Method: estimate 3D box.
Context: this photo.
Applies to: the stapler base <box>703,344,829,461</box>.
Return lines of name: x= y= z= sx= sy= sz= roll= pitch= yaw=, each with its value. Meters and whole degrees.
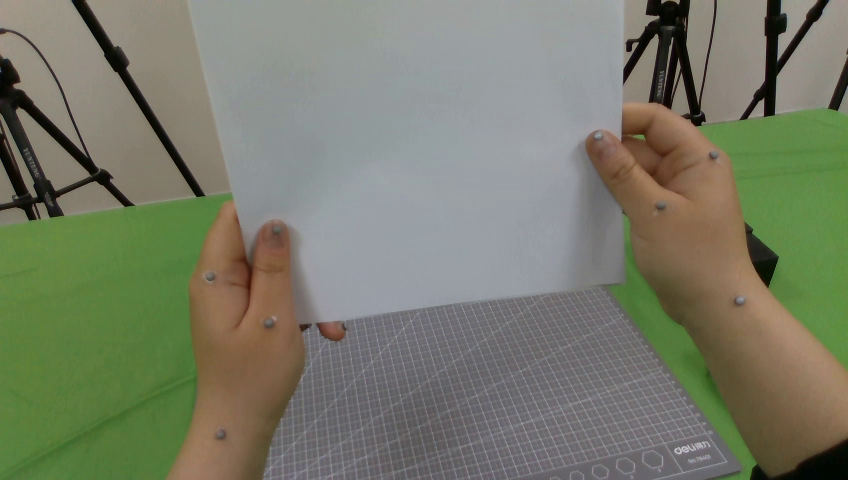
stapler base: x=0.305 y=0.136 z=0.546 sx=0.041 sy=0.024 sz=0.129 roll=-11 pitch=38 yaw=-8

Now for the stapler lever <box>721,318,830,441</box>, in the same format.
stapler lever: x=0.305 y=0.116 z=0.530 sx=0.027 sy=0.040 sz=0.116 roll=-11 pitch=38 yaw=-8
